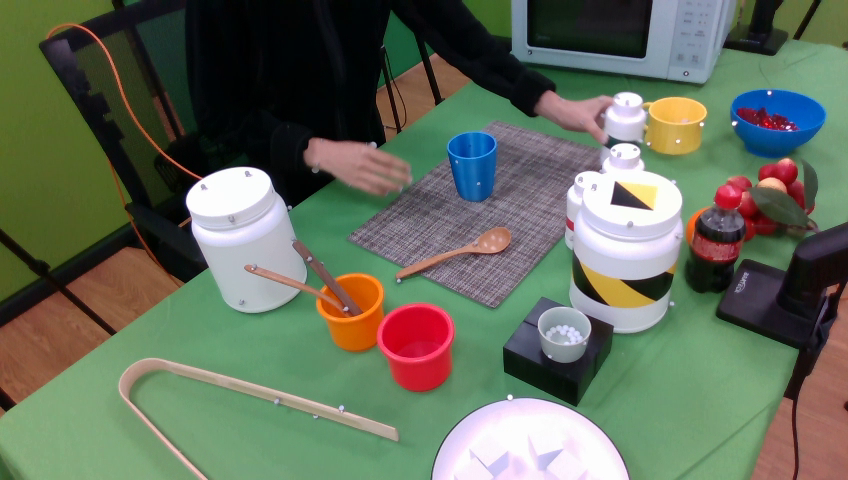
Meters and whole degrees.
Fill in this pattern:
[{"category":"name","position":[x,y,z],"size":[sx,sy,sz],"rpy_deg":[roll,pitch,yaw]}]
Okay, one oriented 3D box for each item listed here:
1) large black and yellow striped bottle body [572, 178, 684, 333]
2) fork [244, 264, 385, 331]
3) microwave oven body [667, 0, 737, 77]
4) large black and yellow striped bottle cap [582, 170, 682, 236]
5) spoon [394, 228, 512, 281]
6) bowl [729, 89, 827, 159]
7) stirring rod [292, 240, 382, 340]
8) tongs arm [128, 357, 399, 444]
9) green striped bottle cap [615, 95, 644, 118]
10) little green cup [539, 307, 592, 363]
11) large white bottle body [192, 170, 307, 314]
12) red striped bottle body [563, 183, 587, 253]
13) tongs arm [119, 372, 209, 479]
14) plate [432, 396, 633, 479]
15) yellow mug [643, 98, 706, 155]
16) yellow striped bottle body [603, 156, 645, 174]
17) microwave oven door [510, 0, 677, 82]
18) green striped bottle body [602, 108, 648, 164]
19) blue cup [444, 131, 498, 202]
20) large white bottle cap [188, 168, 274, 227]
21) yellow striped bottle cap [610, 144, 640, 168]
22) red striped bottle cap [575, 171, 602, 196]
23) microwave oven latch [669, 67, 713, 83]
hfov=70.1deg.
[{"category":"large black and yellow striped bottle body","position":[0.262,0.017,0.788],"size":[0.131,0.185,0.130],"rpy_deg":[-5,40,4]},{"category":"fork","position":[-0.142,0.078,0.806],"size":[0.209,0.018,0.028],"rpy_deg":[30,34,-23]},{"category":"microwave oven body","position":[0.462,-0.552,1.368],"size":[0.439,0.261,0.326],"rpy_deg":[14,45,26]},{"category":"large black and yellow striped bottle cap","position":[0.252,-0.048,0.735],"size":[0.115,0.019,0.114],"rpy_deg":[-3,40,3]},{"category":"spoon","position":[0.045,0.024,0.935],"size":[0.194,0.022,0.041],"rpy_deg":[-18,66,-11]},{"category":"bowl","position":[0.615,-0.197,1.069],"size":[0.151,0.077,0.150],"rpy_deg":[-5,40,5]},{"category":"stirring rod","position":[-0.119,0.068,0.825],"size":[0.176,0.006,0.014],"rpy_deg":[49,58,-3]},{"category":"tongs arm","position":[-0.213,0.205,0.755],"size":[0.382,0.026,0.051],"rpy_deg":[12,46,23]},{"category":"green striped bottle cap","position":[0.332,-0.215,0.975],"size":[0.044,0.020,0.044],"rpy_deg":[-4,43,4]},{"category":"little green cup","position":[0.168,0.115,0.721],"size":[0.061,0.039,0.061],"rpy_deg":[-4,42,4]},{"category":"large white bottle body","position":[-0.256,0.003,0.885],"size":[0.130,0.185,0.130],"rpy_deg":[-5,40,4]},{"category":"red striped bottle body","position":[0.246,-0.041,0.910],"size":[0.063,0.120,0.062],"rpy_deg":[-2,38,2]},{"category":"tongs arm","position":[-0.258,0.257,0.700],"size":[0.384,0.028,0.028],"rpy_deg":[24,55,34]},{"category":"plate","position":[0.112,0.261,0.634],"size":[0.209,0.038,0.208],"rpy_deg":[-5,40,4]},{"category":"yellow mug","position":[0.453,-0.217,1.128],"size":[0.100,0.064,0.129],"rpy_deg":[-34,46,-26]},{"category":"yellow striped bottle body","position":[0.313,-0.089,0.956],"size":[0.063,0.121,0.062],"rpy_deg":[-5,40,4]},{"category":"microwave oven door","position":[0.352,-0.477,1.289],"size":[0.353,0.245,0.039],"rpy_deg":[15,44,25]},{"category":"green striped bottle body","position":[0.335,-0.175,1.009],"size":[0.063,0.120,0.063],"rpy_deg":[-3,42,4]},{"category":"blue cup","position":[0.086,-0.122,1.040],"size":[0.092,0.100,0.092],"rpy_deg":[-4,42,4]},{"category":"large white bottle cap","position":[-0.264,-0.061,0.831],"size":[0.115,0.018,0.114],"rpy_deg":[-4,40,4]},{"category":"yellow striped bottle cap","position":[0.307,-0.128,0.923],"size":[0.044,0.019,0.044],"rpy_deg":[-5,39,4]},{"category":"red striped bottle cap","position":[0.242,-0.081,0.876],"size":[0.044,0.018,0.044],"rpy_deg":[-5,44,5]},{"category":"microwave oven latch","position":[0.556,-0.349,1.261],"size":[0.078,0.029,0.030],"rpy_deg":[16,46,27]}]
